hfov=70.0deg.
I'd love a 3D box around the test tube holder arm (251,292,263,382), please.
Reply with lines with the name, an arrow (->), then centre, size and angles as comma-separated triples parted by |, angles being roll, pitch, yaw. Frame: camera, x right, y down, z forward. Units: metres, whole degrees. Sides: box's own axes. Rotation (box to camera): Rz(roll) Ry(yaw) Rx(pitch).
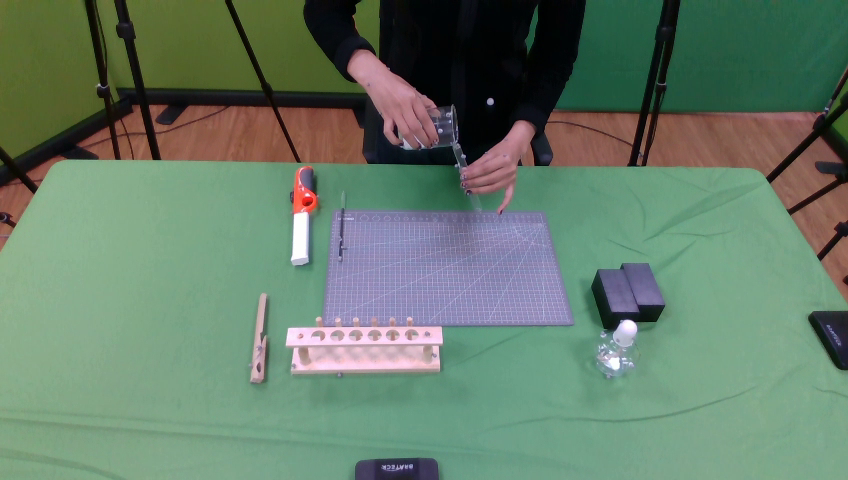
test tube holder arm -> -0.282, 0.159, 1.025 | 0.013, 0.015, 0.177 | 23, 36, -33

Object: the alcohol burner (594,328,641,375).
alcohol burner -> 0.322, 0.170, 0.994 | 0.078, 0.119, 0.077 | 3, 48, -3

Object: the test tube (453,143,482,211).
test tube -> 0.082, -0.114, 1.135 | 0.017, 0.151, 0.017 | -16, 35, 12

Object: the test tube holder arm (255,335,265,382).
test tube holder arm -> -0.270, 0.193, 0.997 | 0.010, 0.015, 0.087 | 24, 36, -32

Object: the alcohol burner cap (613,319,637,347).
alcohol burner cap -> 0.323, 0.146, 0.966 | 0.034, 0.048, 0.033 | -1, 52, 2

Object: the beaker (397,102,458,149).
beaker -> 0.007, -0.199, 1.078 | 0.100, 0.084, 0.073 | -3, 40, 11

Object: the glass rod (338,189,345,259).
glass rod -> -0.166, -0.037, 1.227 | 0.008, 0.008, 0.198 | -1, 47, -4

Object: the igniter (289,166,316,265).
igniter -> -0.248, -0.058, 1.233 | 0.057, 0.025, 0.274 | -9, 47, 1

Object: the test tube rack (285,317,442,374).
test tube rack -> -0.095, 0.166, 0.988 | 0.242, 0.085, 0.066 | 0, 46, -4
